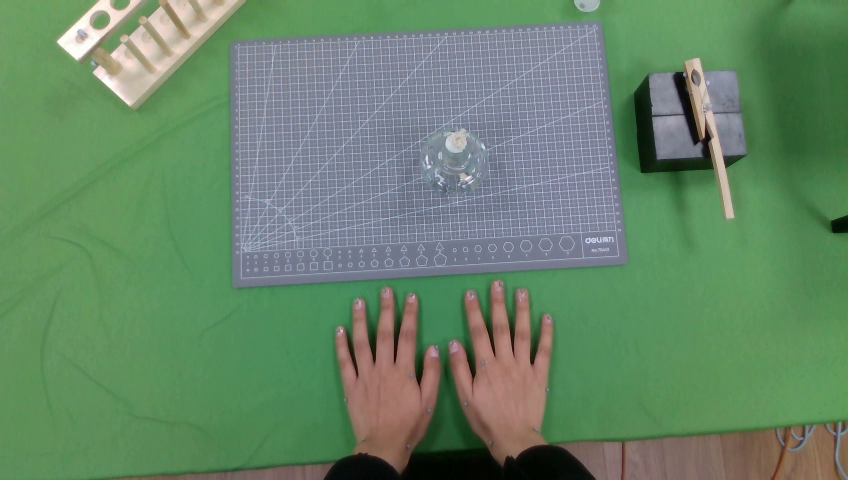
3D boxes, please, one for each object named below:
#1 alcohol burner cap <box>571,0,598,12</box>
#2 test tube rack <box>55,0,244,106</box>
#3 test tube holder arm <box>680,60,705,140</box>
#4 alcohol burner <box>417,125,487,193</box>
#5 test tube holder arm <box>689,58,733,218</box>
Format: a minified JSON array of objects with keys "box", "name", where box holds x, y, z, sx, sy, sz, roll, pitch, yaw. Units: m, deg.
[{"box":[0.198,-0.299,0.726,0.034,0.048,0.033,0,79,-1],"name":"alcohol burner cap"},{"box":[-0.288,-0.275,0.696,0.066,0.085,0.242,41,83,7],"name":"test tube rack"},{"box":[0.296,-0.153,0.664,0.010,0.015,0.087,-12,85,16],"name":"test tube holder arm"},{"box":[0.031,-0.093,0.652,0.078,0.119,0.077,0,79,-1],"name":"alcohol burner"},{"box":[0.311,-0.111,0.659,0.013,0.015,0.178,-14,85,15],"name":"test tube holder arm"}]
